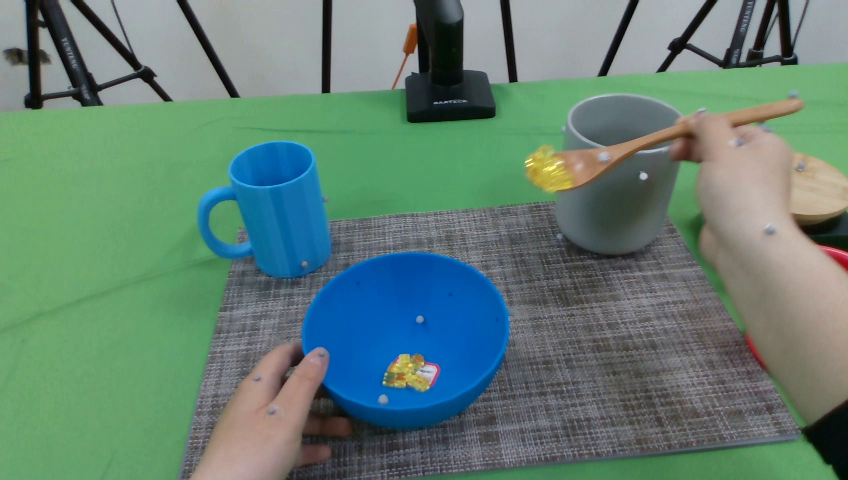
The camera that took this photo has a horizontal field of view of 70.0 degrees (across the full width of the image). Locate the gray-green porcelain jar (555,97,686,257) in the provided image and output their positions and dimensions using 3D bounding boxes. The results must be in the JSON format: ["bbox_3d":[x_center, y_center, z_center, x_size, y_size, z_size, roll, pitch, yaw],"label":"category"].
[{"bbox_3d":[0.181,-0.055,0.579,0.106,0.127,0.105,-2,41,2],"label":"gray-green porcelain jar"}]

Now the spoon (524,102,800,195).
[{"bbox_3d":[0.168,-0.068,0.438,0.193,0.022,0.041,-16,45,15],"label":"spoon"}]

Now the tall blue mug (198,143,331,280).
[{"bbox_3d":[-0.144,-0.018,0.566,0.077,0.109,0.107,29,50,30],"label":"tall blue mug"}]

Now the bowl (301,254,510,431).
[{"bbox_3d":[-0.012,0.088,0.459,0.151,0.077,0.150,-1,41,2],"label":"bowl"}]

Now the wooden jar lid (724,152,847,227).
[{"bbox_3d":[0.340,-0.048,0.572,0.108,0.021,0.107,-2,40,2],"label":"wooden jar lid"}]
